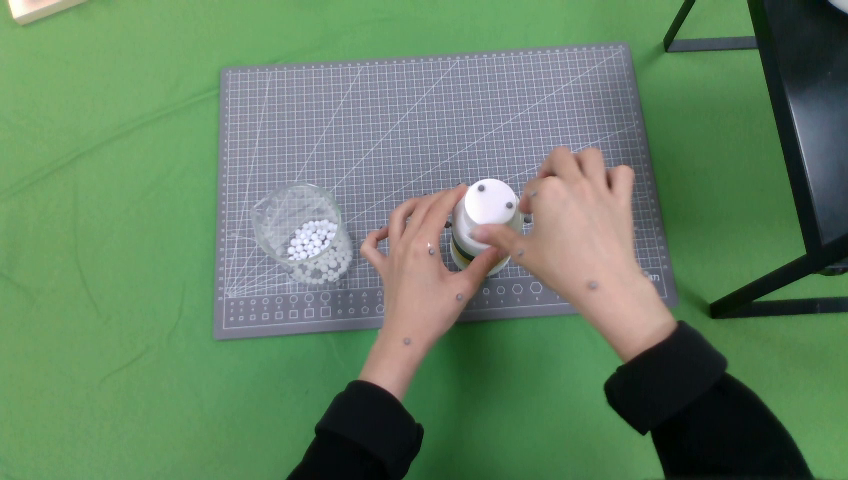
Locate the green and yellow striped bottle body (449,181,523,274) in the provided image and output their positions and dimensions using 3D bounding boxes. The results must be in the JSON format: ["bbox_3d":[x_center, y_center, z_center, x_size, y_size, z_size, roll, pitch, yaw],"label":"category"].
[{"bbox_3d":[0.055,-0.013,0.550,0.063,0.120,0.063,0,73,1],"label":"green and yellow striped bottle body"}]

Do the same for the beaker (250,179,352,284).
[{"bbox_3d":[-0.109,-0.003,0.560,0.084,0.101,0.073,16,73,6],"label":"beaker"}]

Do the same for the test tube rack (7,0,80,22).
[{"bbox_3d":[-0.365,-0.336,0.671,0.242,0.085,0.066,-24,74,-7],"label":"test tube rack"}]

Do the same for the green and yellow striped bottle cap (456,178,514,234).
[{"bbox_3d":[0.050,-0.028,0.495,0.045,0.020,0.045,4,60,-7],"label":"green and yellow striped bottle cap"}]

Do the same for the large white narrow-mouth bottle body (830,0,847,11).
[{"bbox_3d":[0.352,-0.244,0.394,0.102,0.196,0.101,-1,72,2],"label":"large white narrow-mouth bottle body"}]
